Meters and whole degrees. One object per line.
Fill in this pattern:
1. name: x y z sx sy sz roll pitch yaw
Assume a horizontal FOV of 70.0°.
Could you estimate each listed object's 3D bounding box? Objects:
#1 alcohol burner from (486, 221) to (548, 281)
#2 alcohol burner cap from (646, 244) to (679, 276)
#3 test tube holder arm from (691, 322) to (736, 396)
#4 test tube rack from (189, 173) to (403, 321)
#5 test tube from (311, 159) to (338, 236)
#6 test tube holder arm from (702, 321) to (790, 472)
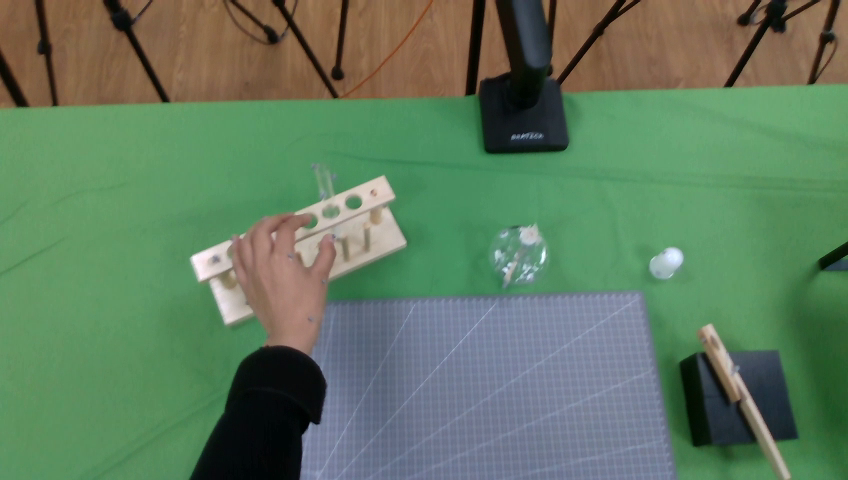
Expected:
1. alcohol burner: 0.117 0.007 0.742 0.078 0.120 0.077 1 68 -3
2. alcohol burner cap: 0.310 0.024 0.782 0.034 0.048 0.033 0 67 -1
3. test tube holder arm: 0.335 0.137 0.697 0.010 0.015 0.087 -19 71 -12
4. test tube rack: -0.148 0.009 0.745 0.242 0.086 0.066 -24 70 -12
5. test tube: -0.116 -0.045 0.715 0.017 0.151 0.017 1 61 -1
6. test tube holder arm: 0.358 0.174 0.684 0.013 0.015 0.177 -21 71 -13
